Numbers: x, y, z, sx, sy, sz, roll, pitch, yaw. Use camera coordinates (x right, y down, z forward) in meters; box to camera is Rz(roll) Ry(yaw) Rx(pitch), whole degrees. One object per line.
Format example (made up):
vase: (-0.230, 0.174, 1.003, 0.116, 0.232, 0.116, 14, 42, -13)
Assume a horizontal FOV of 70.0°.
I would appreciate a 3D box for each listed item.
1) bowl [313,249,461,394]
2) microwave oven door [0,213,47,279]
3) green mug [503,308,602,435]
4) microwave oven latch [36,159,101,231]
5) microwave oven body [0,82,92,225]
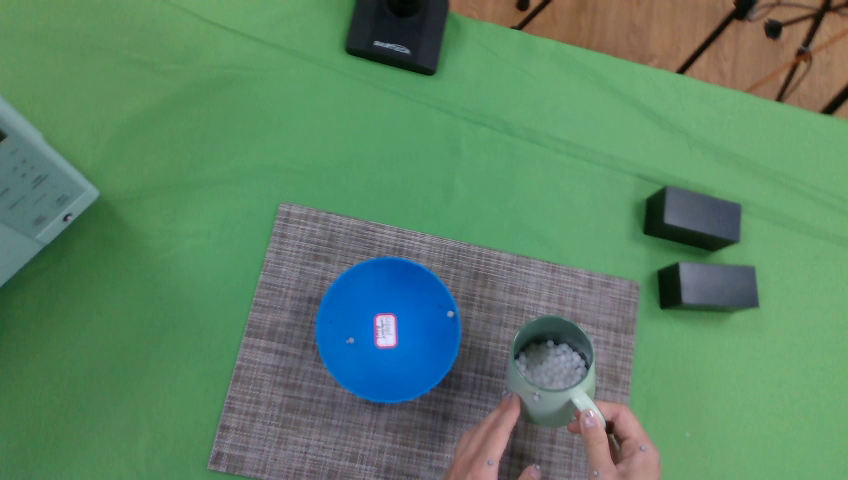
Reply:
bowl: (-0.042, 0.091, 0.656, 0.152, 0.077, 0.150, 2, 76, -8)
microwave oven door: (-0.506, 0.086, 0.482, 0.039, 0.244, 0.355, 40, 74, 3)
green mug: (0.135, 0.138, 0.611, 0.092, 0.106, 0.124, -30, 59, -10)
microwave oven latch: (-0.381, -0.047, 0.639, 0.030, 0.029, 0.079, 42, 75, 2)
microwave oven body: (-0.592, -0.037, 0.502, 0.326, 0.260, 0.441, 40, 75, 1)
